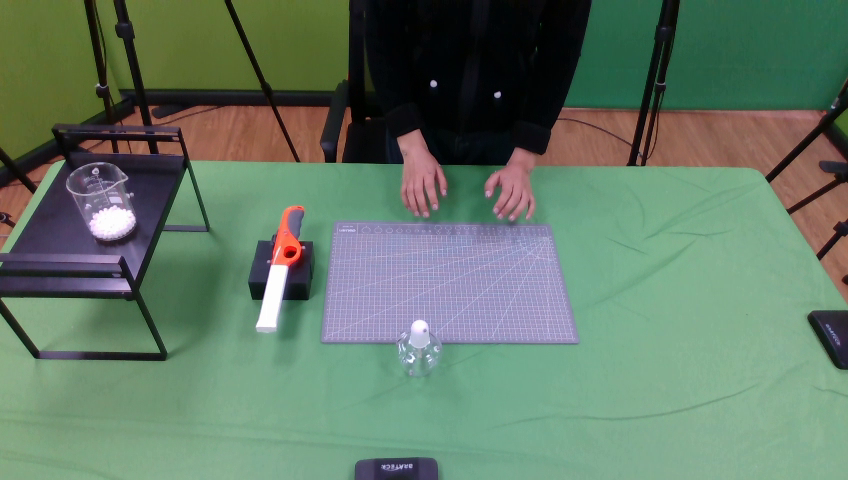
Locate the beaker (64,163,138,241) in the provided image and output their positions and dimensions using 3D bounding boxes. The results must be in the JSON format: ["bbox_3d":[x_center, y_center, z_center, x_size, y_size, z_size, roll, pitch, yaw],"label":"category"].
[{"bbox_3d":[-0.477,-0.055,0.910,0.084,0.101,0.073,-9,48,-13],"label":"beaker"}]

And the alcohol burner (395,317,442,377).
[{"bbox_3d":[-0.009,0.166,0.972,0.078,0.120,0.077,1,45,0],"label":"alcohol burner"}]

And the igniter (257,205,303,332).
[{"bbox_3d":[-0.252,0.040,1.070,0.057,0.025,0.275,3,49,-2],"label":"igniter"}]

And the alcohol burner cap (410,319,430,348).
[{"bbox_3d":[-0.007,0.144,0.950,0.034,0.048,0.033,0,47,0],"label":"alcohol burner cap"}]
